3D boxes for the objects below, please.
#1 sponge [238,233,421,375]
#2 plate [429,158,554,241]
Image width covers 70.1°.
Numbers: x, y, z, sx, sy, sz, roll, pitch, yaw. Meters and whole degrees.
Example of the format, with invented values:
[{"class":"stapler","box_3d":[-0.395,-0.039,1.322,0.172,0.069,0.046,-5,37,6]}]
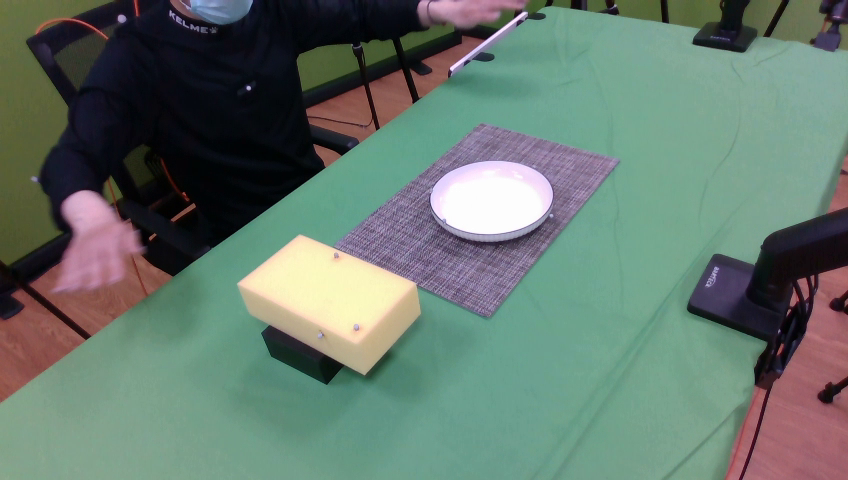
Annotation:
[{"class":"sponge","box_3d":[-0.123,0.077,0.791,0.205,0.061,0.118,21,48,28]},{"class":"plate","box_3d":[0.112,-0.065,1.011,0.207,0.039,0.206,-4,41,4]}]
